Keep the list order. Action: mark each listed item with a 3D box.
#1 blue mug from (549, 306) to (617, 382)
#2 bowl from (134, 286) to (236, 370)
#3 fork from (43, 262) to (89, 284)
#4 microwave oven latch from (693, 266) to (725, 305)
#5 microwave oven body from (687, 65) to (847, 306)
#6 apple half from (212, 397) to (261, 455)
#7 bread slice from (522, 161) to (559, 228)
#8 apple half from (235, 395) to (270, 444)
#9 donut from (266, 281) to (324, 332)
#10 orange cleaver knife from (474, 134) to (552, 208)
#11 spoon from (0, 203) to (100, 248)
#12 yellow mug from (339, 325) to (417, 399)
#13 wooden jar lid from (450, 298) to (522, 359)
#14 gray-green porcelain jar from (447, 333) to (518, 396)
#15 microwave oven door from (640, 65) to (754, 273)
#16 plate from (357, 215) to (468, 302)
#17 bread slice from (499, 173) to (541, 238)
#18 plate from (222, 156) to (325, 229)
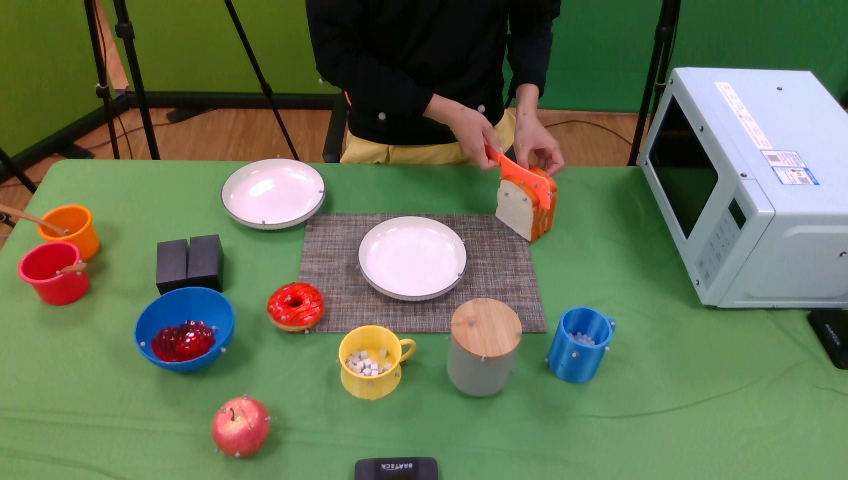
[{"bbox_3d":[0.269,0.166,0.998,0.116,0.106,0.082,-19,51,-21],"label":"blue mug"},{"bbox_3d":[-0.377,0.155,0.981,0.151,0.077,0.150,2,46,-2],"label":"bowl"},{"bbox_3d":[-0.599,0.053,1.014,0.207,0.019,0.028,-14,29,45],"label":"fork"},{"bbox_3d":[0.523,0.082,1.115,0.030,0.029,0.078,2,46,-1],"label":"microwave oven latch"},{"bbox_3d":[0.669,-0.111,1.176,0.326,0.261,0.439,0,46,-3],"label":"microwave oven body"},{"bbox_3d":[-0.276,0.276,0.877,0.053,0.075,0.080,-29,58,-21],"label":"apple half"},{"bbox_3d":[0.228,-0.094,1.223,0.018,0.135,0.106,-36,60,-25],"label":"bread slice"},{"bbox_3d":[-0.245,0.259,0.893,0.033,0.082,0.081,-29,55,-22],"label":"apple half"},{"bbox_3d":[-0.222,0.114,1.049,0.099,0.048,0.098,2,46,-2],"label":"donut"},{"bbox_3d":[0.171,-0.135,1.173,0.012,0.077,0.210,-33,55,-24],"label":"orange cleaver knife"},{"bbox_3d":[-0.683,-0.031,1.088,0.195,0.021,0.041,33,33,-38],"label":"spoon"},{"bbox_3d":[-0.072,0.191,0.978,0.131,0.064,0.099,-17,50,-20],"label":"yellow mug"},{"bbox_3d":[0.093,0.135,0.914,0.108,0.021,0.107,3,48,-3],"label":"wooden jar lid"},{"bbox_3d":[0.091,0.178,0.960,0.106,0.127,0.105,2,46,-2],"label":"gray-green porcelain jar"},{"bbox_3d":[0.523,-0.147,1.193,0.039,0.245,0.353,0,47,-3],"label":"microwave oven door"},{"bbox_3d":[-0.022,0.037,1.141,0.208,0.039,0.206,2,46,-2],"label":"plate"},{"bbox_3d":[0.187,-0.072,1.197,0.019,0.132,0.104,-37,56,-21],"label":"bread slice"},{"bbox_3d":[-0.308,-0.095,1.251,0.209,0.038,0.208,2,47,-2],"label":"plate"}]
